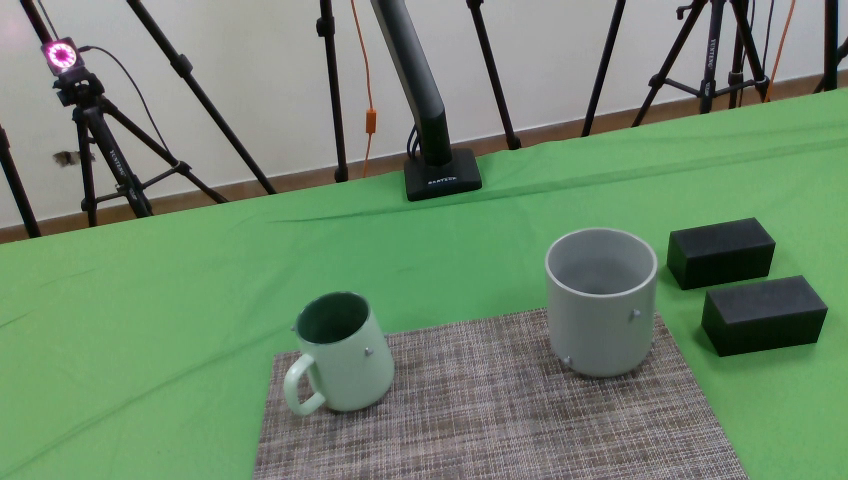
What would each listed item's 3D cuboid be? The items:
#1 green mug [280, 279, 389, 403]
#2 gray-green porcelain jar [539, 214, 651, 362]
[{"bbox_3d":[-0.099,0.115,0.633,0.092,0.106,0.125,18,47,32],"label":"green mug"},{"bbox_3d":[0.174,0.054,0.621,0.106,0.128,0.105,-8,38,6],"label":"gray-green porcelain jar"}]
